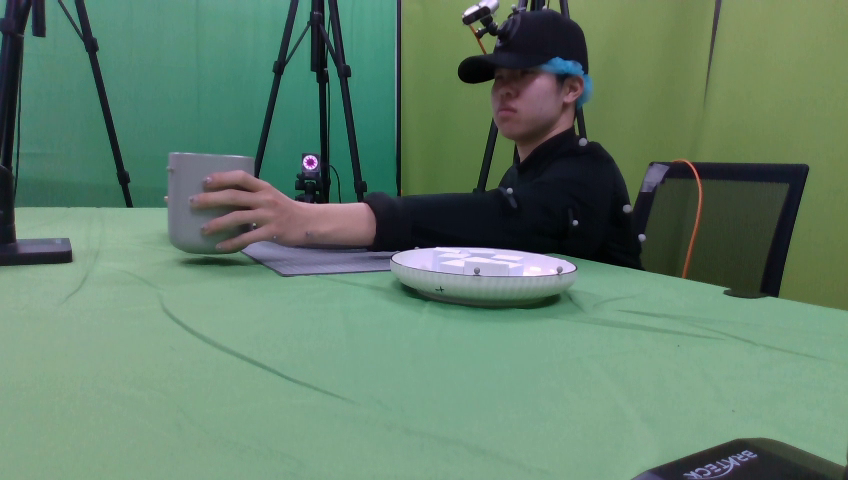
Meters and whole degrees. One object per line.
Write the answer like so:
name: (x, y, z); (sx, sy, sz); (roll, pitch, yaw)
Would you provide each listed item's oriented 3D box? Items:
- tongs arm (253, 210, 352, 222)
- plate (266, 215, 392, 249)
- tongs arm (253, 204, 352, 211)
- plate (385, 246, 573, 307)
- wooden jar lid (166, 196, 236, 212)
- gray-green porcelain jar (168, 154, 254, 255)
tongs arm: (-0.337, -0.053, 1.329); (0.389, 0.028, 0.028); (-1, 6, -27)
plate: (-0.159, -0.015, 1.019); (0.209, 0.038, 0.209); (3, 7, 0)
tongs arm: (-0.362, -0.068, 1.406); (0.386, 0.026, 0.050); (2, 9, -14)
plate: (0.060, 0.041, 0.678); (0.208, 0.039, 0.207); (3, 7, 0)
wooden jar lid: (-0.369, -0.059, 1.001); (0.108, 0.020, 0.108); (3, 6, 0)
gray-green porcelain jar: (-0.280, -0.047, 0.796); (0.106, 0.126, 0.106); (3, 7, 0)
